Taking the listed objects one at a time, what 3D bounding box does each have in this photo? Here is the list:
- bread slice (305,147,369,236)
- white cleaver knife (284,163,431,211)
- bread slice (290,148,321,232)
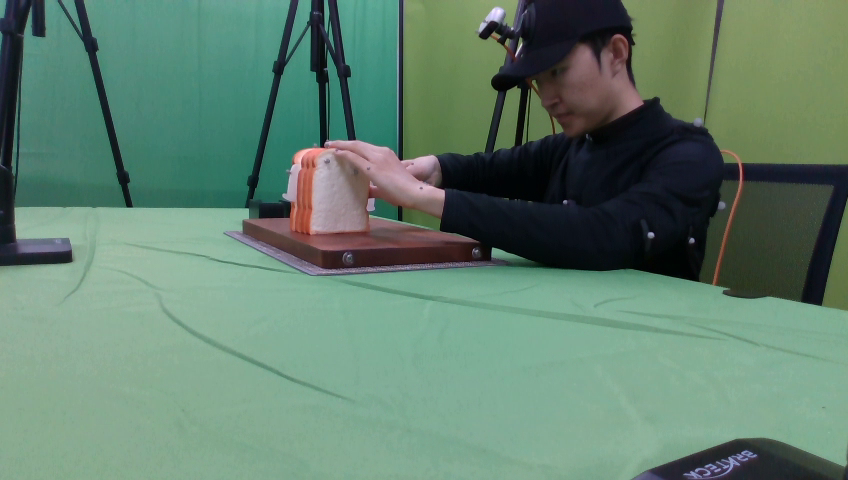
[{"bbox_3d":[-0.132,-0.073,0.918,0.107,0.134,0.018,-8,13,-38],"label":"bread slice"},{"bbox_3d":[-0.103,-0.082,1.005,0.288,0.066,0.021,3,4,-40],"label":"white cleaver knife"},{"bbox_3d":[-0.167,-0.080,0.961,0.105,0.131,0.019,-3,3,-42],"label":"bread slice"}]
